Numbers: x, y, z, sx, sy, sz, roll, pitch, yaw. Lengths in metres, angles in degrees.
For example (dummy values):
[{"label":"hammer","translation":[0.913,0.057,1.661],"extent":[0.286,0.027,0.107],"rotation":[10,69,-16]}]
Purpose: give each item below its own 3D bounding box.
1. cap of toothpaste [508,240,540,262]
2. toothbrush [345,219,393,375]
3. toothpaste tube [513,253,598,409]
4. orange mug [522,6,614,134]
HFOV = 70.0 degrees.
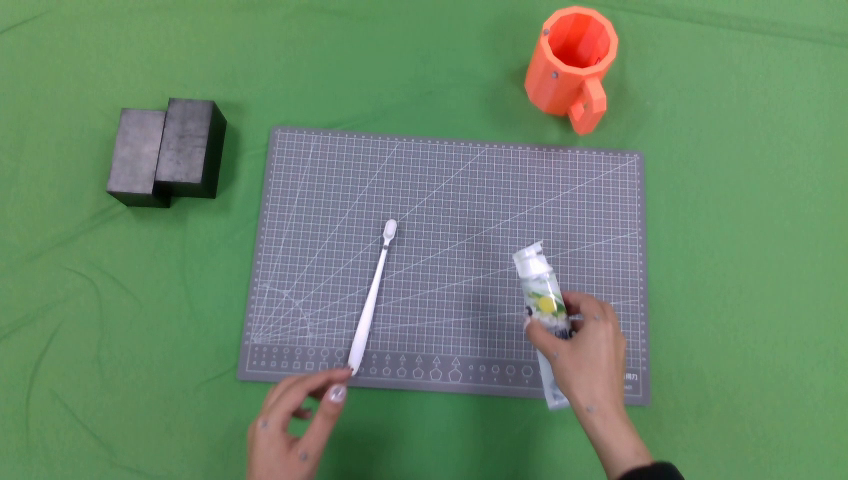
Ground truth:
[{"label":"cap of toothpaste","translation":[0.103,0.011,0.615],"extent":[0.037,0.037,0.011],"rotation":[-27,82,-9]},{"label":"toothbrush","translation":[-0.060,0.061,0.675],"extent":[0.014,0.016,0.181],"rotation":[17,77,-11]},{"label":"toothpaste tube","translation":[0.127,0.090,0.618],"extent":[0.055,0.034,0.165],"rotation":[-17,92,18]},{"label":"orange mug","translation":[0.172,-0.192,0.708],"extent":[0.083,0.101,0.125],"rotation":[-17,72,-6]}]
